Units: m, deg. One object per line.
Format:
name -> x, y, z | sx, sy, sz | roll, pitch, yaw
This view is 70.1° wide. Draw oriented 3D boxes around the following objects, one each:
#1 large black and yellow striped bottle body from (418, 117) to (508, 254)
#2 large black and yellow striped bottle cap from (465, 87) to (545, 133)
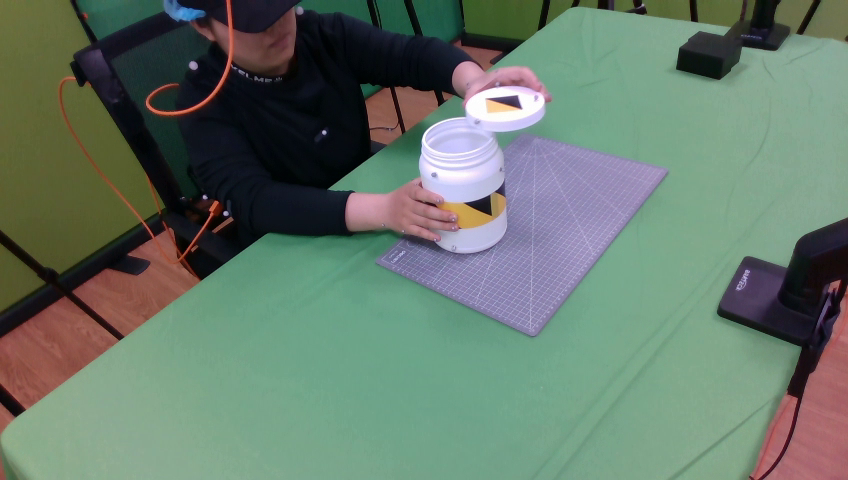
large black and yellow striped bottle body -> 0.062, -0.085, 0.942 | 0.131, 0.185, 0.130 | -5, 40, 5
large black and yellow striped bottle cap -> 0.117, -0.192, 0.880 | 0.115, 0.019, 0.114 | -6, 37, 5
